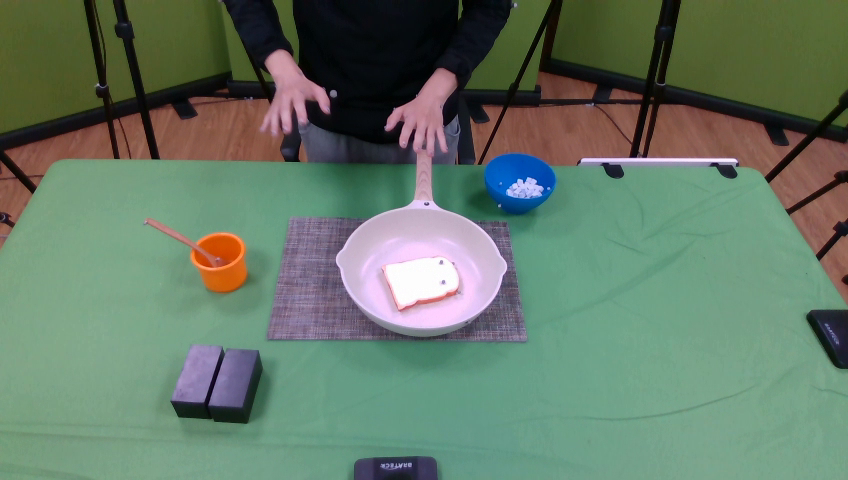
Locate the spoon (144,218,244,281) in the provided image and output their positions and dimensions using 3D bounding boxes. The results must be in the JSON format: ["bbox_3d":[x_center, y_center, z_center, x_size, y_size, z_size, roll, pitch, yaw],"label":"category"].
[{"bbox_3d":[-0.401,0.015,1.064,0.195,0.021,0.041,41,36,-29],"label":"spoon"}]

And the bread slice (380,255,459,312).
[{"bbox_3d":[-0.005,0.074,1.118,0.134,0.018,0.106,-16,50,-17],"label":"bread slice"}]

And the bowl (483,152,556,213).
[{"bbox_3d":[0.195,-0.110,1.280,0.151,0.077,0.150,2,46,-2],"label":"bowl"}]

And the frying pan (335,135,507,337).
[{"bbox_3d":[-0.004,-0.026,1.160,0.307,0.103,0.485,4,55,-2],"label":"frying pan"}]
